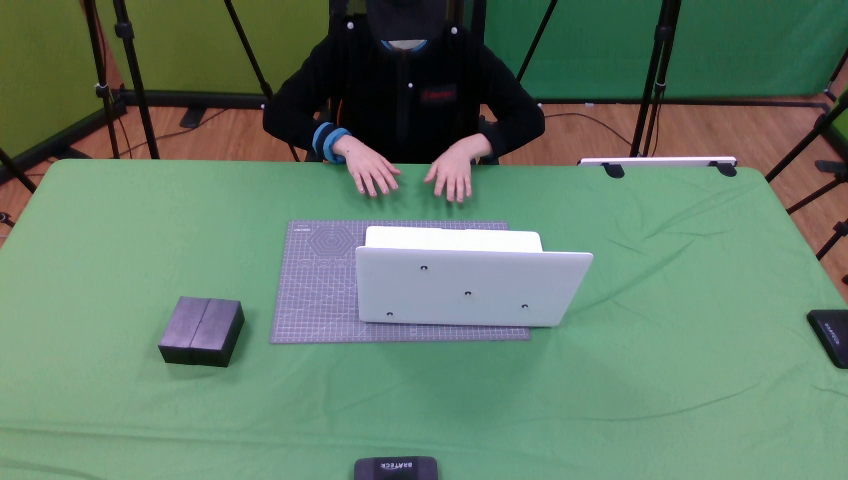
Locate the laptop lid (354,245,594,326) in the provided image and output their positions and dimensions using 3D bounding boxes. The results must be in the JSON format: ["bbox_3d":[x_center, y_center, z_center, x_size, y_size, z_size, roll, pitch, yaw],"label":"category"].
[{"bbox_3d":[0.069,0.080,0.964,0.357,0.243,0.013,2,55,-4],"label":"laptop lid"}]

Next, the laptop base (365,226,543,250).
[{"bbox_3d":[0.061,0.063,1.144,0.354,0.023,0.234,2,43,-3],"label":"laptop base"}]
